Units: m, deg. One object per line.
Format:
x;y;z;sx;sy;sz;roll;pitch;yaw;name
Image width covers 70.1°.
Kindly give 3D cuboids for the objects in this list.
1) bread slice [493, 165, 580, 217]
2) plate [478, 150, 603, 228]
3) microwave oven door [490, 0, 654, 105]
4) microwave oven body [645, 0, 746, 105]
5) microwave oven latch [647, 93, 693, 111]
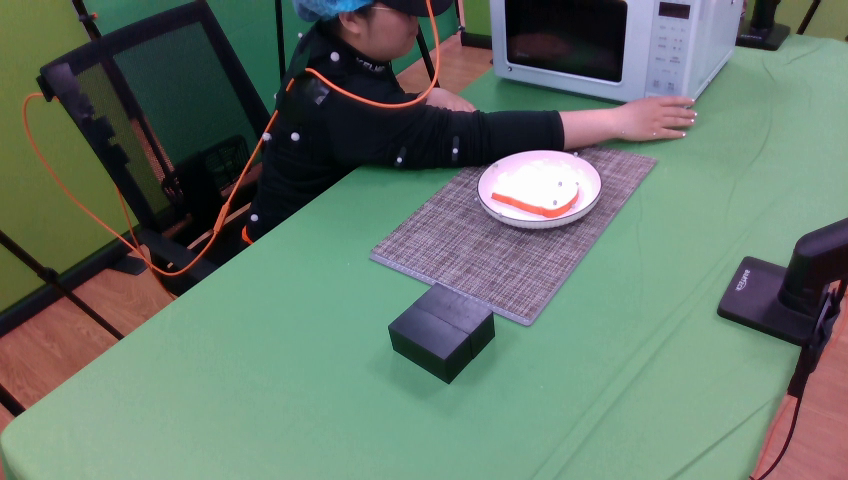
0.200;-0.084;1.034;0.130;0.019;0.105;23;50;34;bread slice
0.198;-0.084;1.030;0.209;0.038;0.208;-5;40;5;plate
0.293;-0.420;1.228;0.353;0.245;0.039;22;50;32;microwave oven door
0.416;-0.486;1.290;0.438;0.261;0.327;21;50;33;microwave oven body
0.477;-0.273;1.177;0.078;0.029;0.030;22;50;33;microwave oven latch
